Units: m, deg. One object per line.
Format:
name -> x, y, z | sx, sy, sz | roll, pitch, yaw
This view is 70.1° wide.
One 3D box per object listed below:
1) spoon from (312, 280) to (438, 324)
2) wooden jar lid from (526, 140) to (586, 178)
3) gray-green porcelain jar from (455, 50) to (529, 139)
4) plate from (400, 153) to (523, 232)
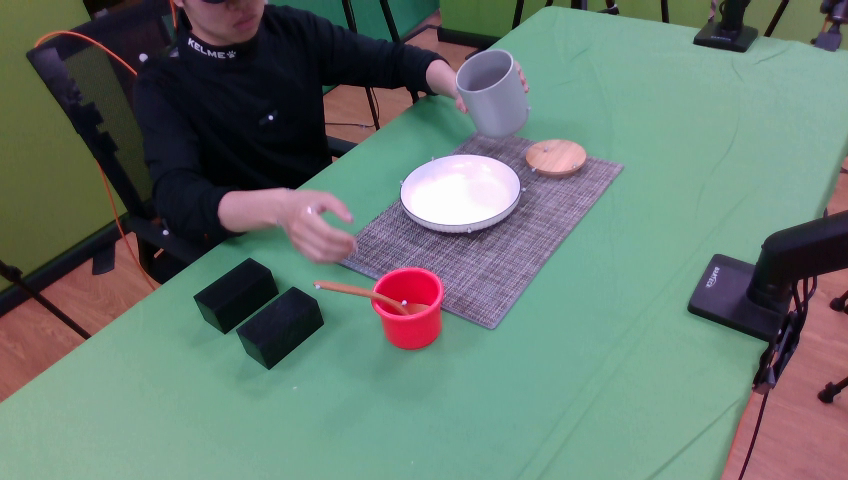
spoon -> -0.060, 0.078, 0.793 | 0.195, 0.021, 0.041 | 24, 25, -35
wooden jar lid -> 0.240, -0.147, 1.103 | 0.108, 0.021, 0.108 | -4, 42, 4
gray-green porcelain jar -> 0.125, -0.252, 1.071 | 0.105, 0.127, 0.105 | -14, 51, 18
plate -> 0.065, -0.078, 1.034 | 0.207, 0.039, 0.206 | -4, 41, 4
